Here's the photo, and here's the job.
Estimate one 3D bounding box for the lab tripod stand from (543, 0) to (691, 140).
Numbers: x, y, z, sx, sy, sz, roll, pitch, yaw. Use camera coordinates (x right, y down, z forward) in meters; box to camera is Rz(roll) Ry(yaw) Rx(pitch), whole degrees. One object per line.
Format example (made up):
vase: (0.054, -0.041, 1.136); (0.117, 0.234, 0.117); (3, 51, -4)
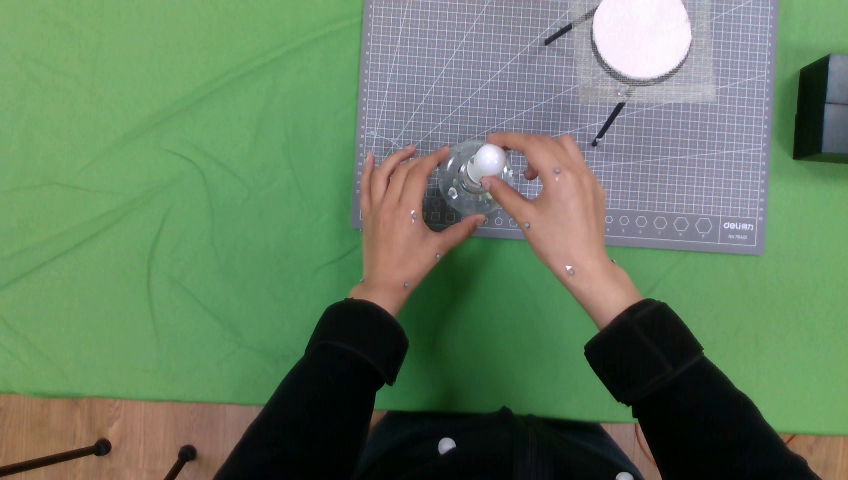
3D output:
lab tripod stand: (0.192, -0.184, 0.592); (0.148, 0.131, 0.148); (0, 88, -1)

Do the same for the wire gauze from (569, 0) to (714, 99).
wire gauze: (0.190, -0.183, 0.525); (0.125, 0.011, 0.121); (-2, 90, -1)

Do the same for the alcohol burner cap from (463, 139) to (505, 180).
alcohol burner cap: (0.056, -0.074, 0.542); (0.034, 0.048, 0.033); (1, 82, -8)

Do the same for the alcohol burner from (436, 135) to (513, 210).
alcohol burner: (0.052, -0.069, 0.601); (0.078, 0.119, 0.078); (0, 88, -2)
